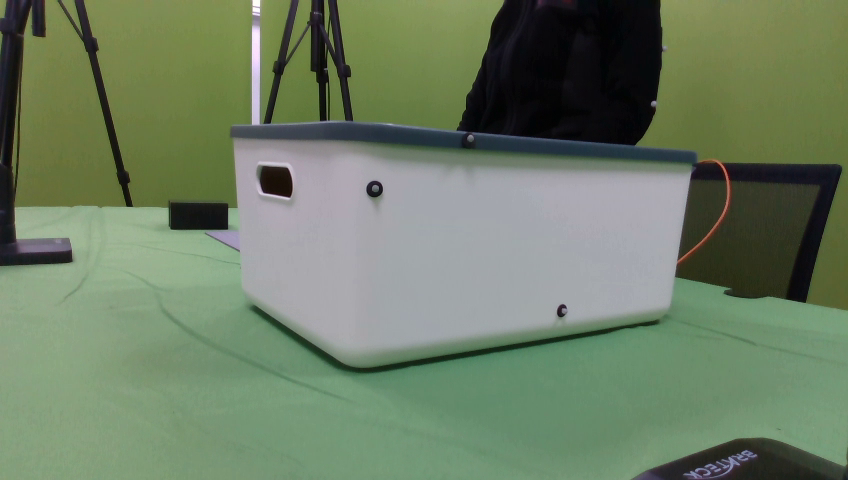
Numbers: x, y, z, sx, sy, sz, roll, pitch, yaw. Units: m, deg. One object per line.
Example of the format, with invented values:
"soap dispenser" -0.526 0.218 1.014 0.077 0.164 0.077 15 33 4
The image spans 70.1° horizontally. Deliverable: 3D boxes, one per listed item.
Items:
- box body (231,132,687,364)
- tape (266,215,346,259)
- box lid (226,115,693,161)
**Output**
"box body" 0.031 -0.013 0.563 0.366 0.160 0.253 -3 8 -33
"tape" -0.168 -0.006 0.872 0.117 0.052 0.117 3 7 0
"box lid" 0.031 -0.086 0.554 0.373 0.015 0.262 -2 8 -33
